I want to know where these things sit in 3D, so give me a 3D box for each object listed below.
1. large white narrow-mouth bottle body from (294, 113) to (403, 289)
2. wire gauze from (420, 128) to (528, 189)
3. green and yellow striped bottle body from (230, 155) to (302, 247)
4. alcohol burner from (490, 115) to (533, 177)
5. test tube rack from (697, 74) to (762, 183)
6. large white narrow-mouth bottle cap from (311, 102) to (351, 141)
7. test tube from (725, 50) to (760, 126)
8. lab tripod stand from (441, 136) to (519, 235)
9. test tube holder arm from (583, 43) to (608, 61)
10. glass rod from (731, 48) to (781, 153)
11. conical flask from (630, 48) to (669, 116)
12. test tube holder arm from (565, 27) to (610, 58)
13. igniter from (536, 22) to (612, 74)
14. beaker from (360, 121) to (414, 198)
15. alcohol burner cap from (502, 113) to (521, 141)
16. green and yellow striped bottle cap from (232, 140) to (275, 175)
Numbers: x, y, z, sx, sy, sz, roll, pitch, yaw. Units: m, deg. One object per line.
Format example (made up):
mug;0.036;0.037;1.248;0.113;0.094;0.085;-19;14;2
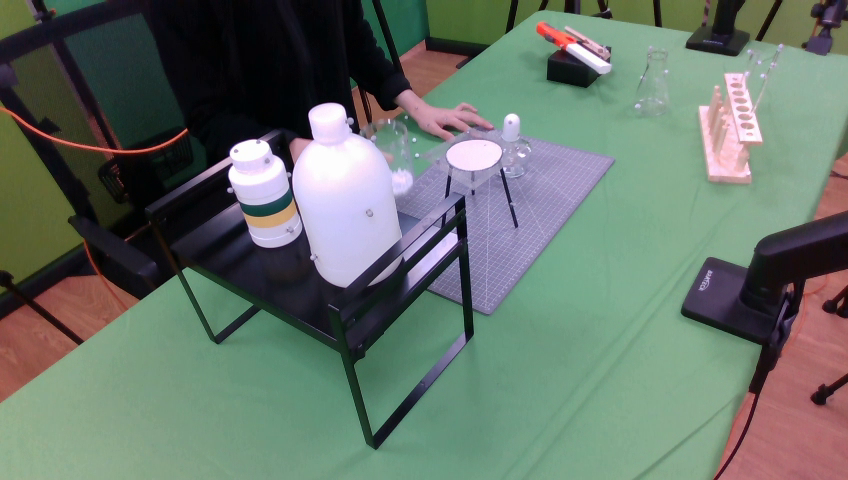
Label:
large white narrow-mouth bottle body;-0.082;-0.047;0.634;0.102;0.195;0.101;-4;40;4
wire gauze;0.076;-0.132;0.926;0.122;0.011;0.124;-34;47;-26
green and yellow striped bottle body;-0.188;-0.055;0.714;0.063;0.120;0.063;-4;41;4
alcohol burner;0.157;-0.173;1.083;0.078;0.119;0.077;-4;43;4
test tube rack;0.547;-0.208;1.094;0.066;0.085;0.242;6;42;14
large white narrow-mouth bottle cap;-0.089;-0.114;0.579;0.038;0.024;0.037;-4;40;3
test tube;0.570;-0.269;1.086;0.017;0.151;0.017;-1;45;2
lab tripod stand;0.083;-0.086;0.976;0.148;0.132;0.147;-4;42;4
test tube holder arm;0.379;-0.420;1.341;0.010;0.015;0.087;-39;41;10
glass rod;0.554;-0.228;1.014;0.008;0.200;0.008;1;44;-1
conical flask;0.456;-0.317;1.205;0.075;0.122;0.075;-4;41;4
test tube holder arm;0.369;-0.450;1.373;0.013;0.015;0.177;-39;41;10
igniter;0.330;-0.438;1.366;0.057;0.025;0.274;-11;41;-19
beaker;-0.054;-0.123;0.933;0.073;0.101;0.084;10;46;20
alcohol burner cap;0.155;-0.200;1.058;0.034;0.048;0.033;-1;50;2
green and yellow striped bottle cap;-0.192;-0.094;0.680;0.045;0.020;0.045;-5;39;5
